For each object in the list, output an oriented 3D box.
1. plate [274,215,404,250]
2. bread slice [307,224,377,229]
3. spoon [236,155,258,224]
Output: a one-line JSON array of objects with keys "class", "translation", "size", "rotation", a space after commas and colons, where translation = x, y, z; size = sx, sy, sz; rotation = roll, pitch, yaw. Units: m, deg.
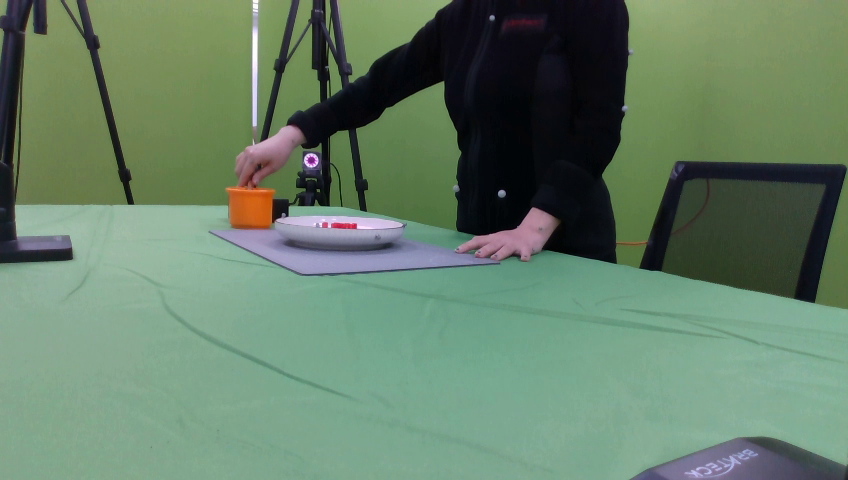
[{"class": "plate", "translation": [-0.137, -0.013, 0.981], "size": [0.209, 0.038, 0.209], "rotation": [2, 7, 0]}, {"class": "bread slice", "translation": [-0.134, -0.011, 0.974], "size": [0.135, 0.018, 0.106], "rotation": [-3, 8, -33]}, {"class": "spoon", "translation": [-0.344, -0.102, 1.196], "size": [0.042, 0.193, 0.021], "rotation": [-2, -36, -7]}]
